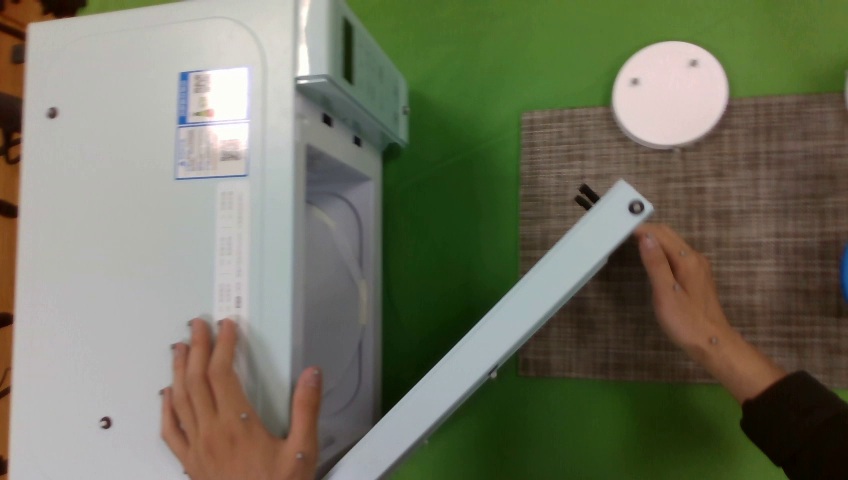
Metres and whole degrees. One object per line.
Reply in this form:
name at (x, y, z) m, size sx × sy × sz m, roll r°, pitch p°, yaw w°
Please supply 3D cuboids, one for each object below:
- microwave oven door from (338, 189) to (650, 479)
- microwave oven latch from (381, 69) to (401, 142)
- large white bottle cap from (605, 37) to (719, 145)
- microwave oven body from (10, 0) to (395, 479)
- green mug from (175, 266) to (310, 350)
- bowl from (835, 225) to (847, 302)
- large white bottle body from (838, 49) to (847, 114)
microwave oven door at (0.056, 0.104, 0.555) m, size 0.039 × 0.245 × 0.356 m, roll 45°, pitch 97°, yaw 14°
microwave oven latch at (-0.043, -0.154, 0.698) m, size 0.030 × 0.029 × 0.079 m, roll -2°, pitch 87°, yaw 13°
large white bottle cap at (0.255, -0.160, 0.650) m, size 0.114 × 0.018 × 0.114 m, roll -1°, pitch 86°, yaw 13°
microwave oven body at (-0.206, 0.022, 0.628) m, size 0.325 × 0.261 × 0.441 m, roll -3°, pitch 86°, yaw 13°
green mug at (-0.183, 0.068, 0.643) m, size 0.125 × 0.105 × 0.092 m, roll -15°, pitch 84°, yaw 9°
bowl at (0.454, 0.024, 0.559) m, size 0.151 × 0.077 × 0.151 m, roll -1°, pitch 86°, yaw 15°
large white bottle body at (0.458, -0.169, 0.515) m, size 0.130 × 0.185 × 0.130 m, roll -2°, pitch 82°, yaw 14°
